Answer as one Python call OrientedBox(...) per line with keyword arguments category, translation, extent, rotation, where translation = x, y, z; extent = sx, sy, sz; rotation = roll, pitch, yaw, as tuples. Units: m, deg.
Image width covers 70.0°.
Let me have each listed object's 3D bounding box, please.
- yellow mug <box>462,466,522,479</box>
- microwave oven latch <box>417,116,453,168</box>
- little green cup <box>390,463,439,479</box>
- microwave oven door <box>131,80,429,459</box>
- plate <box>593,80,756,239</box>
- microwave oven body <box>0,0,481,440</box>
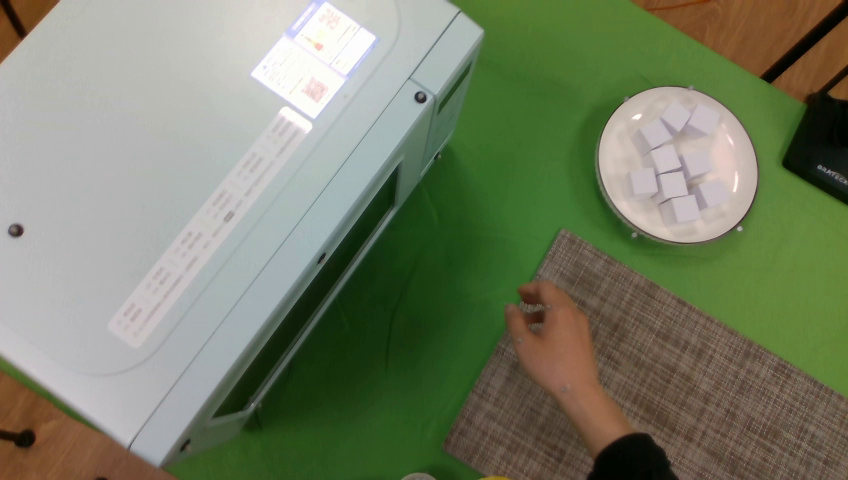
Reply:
OrientedBox(category="yellow mug", translation=(0.067, 0.314, 0.653), extent=(0.100, 0.064, 0.131), rotation=(43, 82, 3))
OrientedBox(category="microwave oven latch", translation=(0.003, -0.123, 0.726), extent=(0.030, 0.029, 0.079), rotation=(37, 79, 2))
OrientedBox(category="little green cup", translation=(-0.011, 0.276, 0.667), extent=(0.061, 0.039, 0.061), rotation=(0, 78, -1))
OrientedBox(category="microwave oven door", translation=(-0.114, 0.033, 0.583), extent=(0.039, 0.244, 0.355), rotation=(34, 78, 3))
OrientedBox(category="plate", translation=(0.313, -0.100, 0.769), extent=(0.208, 0.039, 0.206), rotation=(1, 79, -5))
OrientedBox(category="microwave oven body", translation=(-0.212, -0.082, 0.602), extent=(0.326, 0.261, 0.441), rotation=(34, 79, 2))
